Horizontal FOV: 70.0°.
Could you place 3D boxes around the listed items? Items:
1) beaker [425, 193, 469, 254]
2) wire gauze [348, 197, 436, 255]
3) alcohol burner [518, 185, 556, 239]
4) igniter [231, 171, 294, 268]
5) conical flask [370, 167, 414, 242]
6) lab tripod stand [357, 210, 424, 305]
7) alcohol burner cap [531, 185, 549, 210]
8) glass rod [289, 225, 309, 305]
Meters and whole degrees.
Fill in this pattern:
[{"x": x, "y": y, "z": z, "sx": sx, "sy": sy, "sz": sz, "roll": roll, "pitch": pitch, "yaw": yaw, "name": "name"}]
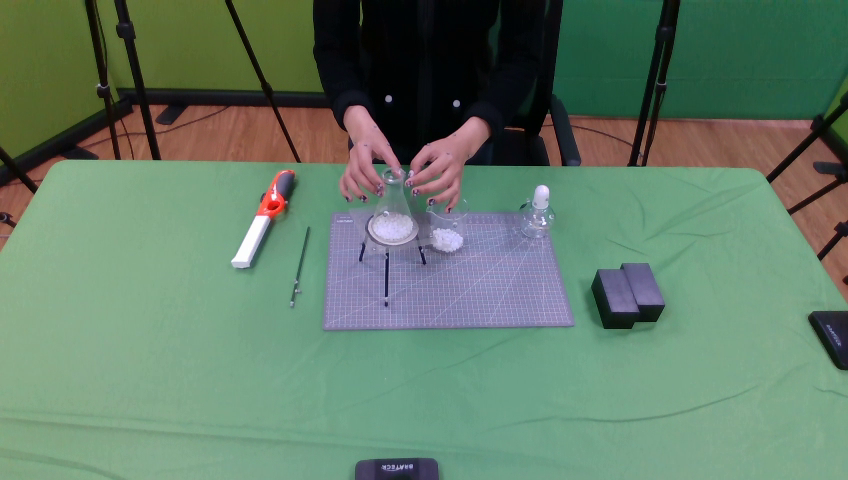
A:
[{"x": 0.042, "y": -0.029, "z": 1.174, "sx": 0.084, "sy": 0.101, "sz": 0.073, "roll": -5, "pitch": 46, "yaw": -8, "name": "beaker"}, {"x": -0.056, "y": -0.024, "z": 1.046, "sx": 0.125, "sy": 0.011, "sz": 0.120, "roll": -14, "pitch": 46, "yaw": -15, "name": "wire gauze"}, {"x": 0.227, "y": -0.061, "z": 1.209, "sx": 0.078, "sy": 0.120, "sz": 0.077, "roll": 1, "pitch": 45, "yaw": -1, "name": "alcohol burner"}, {"x": -0.321, "y": -0.051, "z": 1.220, "sx": 0.057, "sy": 0.025, "sz": 0.275, "roll": 2, "pitch": 45, "yaw": 12, "name": "igniter"}, {"x": -0.053, "y": -0.062, "z": 1.000, "sx": 0.075, "sy": 0.122, "sz": 0.075, "roll": 2, "pitch": 44, "yaw": -2, "name": "conical flask"}, {"x": -0.060, "y": 0.020, "z": 1.094, "sx": 0.148, "sy": 0.132, "sz": 0.147, "roll": 3, "pitch": 44, "yaw": -2, "name": "lab tripod stand"}, {"x": 0.228, "y": -0.085, "z": 1.183, "sx": 0.034, "sy": 0.048, "sz": 0.033, "roll": -1, "pitch": 47, "yaw": 2, "name": "alcohol burner cap"}, {"x": -0.235, "y": 0.042, "z": 1.149, "sx": 0.008, "sy": 0.008, "sz": 0.198, "roll": 3, "pitch": 46, "yaw": -1, "name": "glass rod"}]
